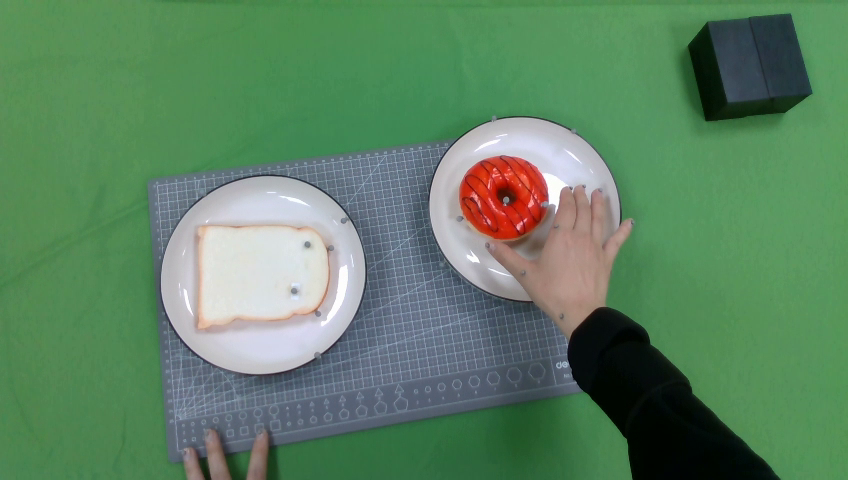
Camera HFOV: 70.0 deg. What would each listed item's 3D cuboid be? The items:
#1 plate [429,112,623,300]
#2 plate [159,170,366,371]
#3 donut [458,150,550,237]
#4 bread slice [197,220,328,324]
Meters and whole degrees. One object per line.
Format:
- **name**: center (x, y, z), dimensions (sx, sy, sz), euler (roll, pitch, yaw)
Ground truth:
- **plate**: center (0.108, -0.037, 0.658), dimensions (0.208, 0.039, 0.206), euler (1, 78, -3)
- **plate**: center (-0.164, 0.031, 0.631), dimensions (0.209, 0.038, 0.208), euler (1, 78, -3)
- **donut**: center (0.085, -0.051, 0.648), dimensions (0.099, 0.048, 0.098), euler (0, 73, 0)
- **bread slice**: center (-0.168, 0.028, 0.632), dimensions (0.134, 0.018, 0.106), euler (-6, 80, -5)
